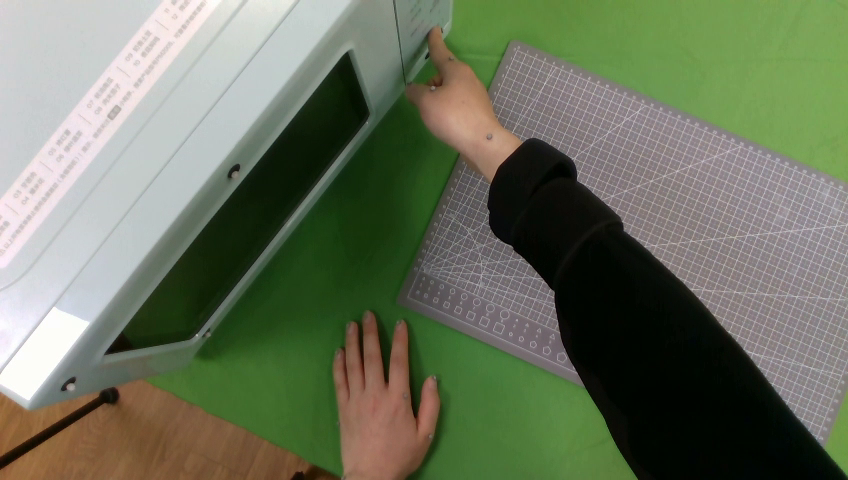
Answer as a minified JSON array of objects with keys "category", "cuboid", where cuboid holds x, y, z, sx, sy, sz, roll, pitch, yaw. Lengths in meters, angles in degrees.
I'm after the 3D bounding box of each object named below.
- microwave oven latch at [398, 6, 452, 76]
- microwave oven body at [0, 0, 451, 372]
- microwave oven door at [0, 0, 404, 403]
[{"category":"microwave oven latch","cuboid":[-0.005,-0.203,0.599,0.030,0.029,0.079,40,88,2]},{"category":"microwave oven body","cuboid":[-0.232,-0.160,0.501,0.326,0.260,0.441,38,88,2]},{"category":"microwave oven door","cuboid":[-0.143,-0.038,0.488,0.039,0.244,0.355,38,87,3]}]
